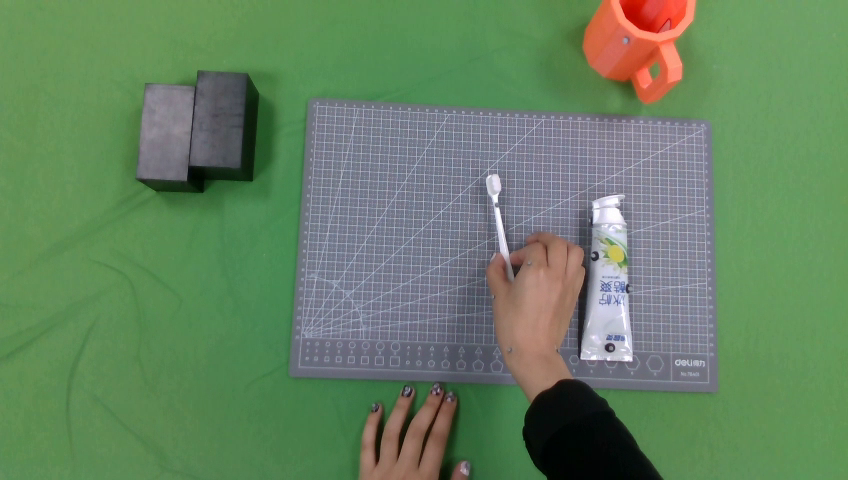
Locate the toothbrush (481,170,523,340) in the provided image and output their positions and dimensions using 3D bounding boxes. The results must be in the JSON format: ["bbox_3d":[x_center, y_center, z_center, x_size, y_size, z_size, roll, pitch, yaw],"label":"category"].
[{"bbox_3d":[0.083,0.014,0.634,0.014,0.016,0.181,-8,85,-19],"label":"toothbrush"}]

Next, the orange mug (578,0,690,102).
[{"bbox_3d":[0.227,-0.216,0.646,0.083,0.101,0.125,-19,79,-5],"label":"orange mug"}]

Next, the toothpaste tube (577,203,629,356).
[{"bbox_3d":[0.190,0.040,0.642,0.055,0.034,0.164,1,86,4],"label":"toothpaste tube"}]

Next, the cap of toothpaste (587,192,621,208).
[{"bbox_3d":[0.193,-0.042,0.647,0.037,0.037,0.011,-10,79,-5],"label":"cap of toothpaste"}]
